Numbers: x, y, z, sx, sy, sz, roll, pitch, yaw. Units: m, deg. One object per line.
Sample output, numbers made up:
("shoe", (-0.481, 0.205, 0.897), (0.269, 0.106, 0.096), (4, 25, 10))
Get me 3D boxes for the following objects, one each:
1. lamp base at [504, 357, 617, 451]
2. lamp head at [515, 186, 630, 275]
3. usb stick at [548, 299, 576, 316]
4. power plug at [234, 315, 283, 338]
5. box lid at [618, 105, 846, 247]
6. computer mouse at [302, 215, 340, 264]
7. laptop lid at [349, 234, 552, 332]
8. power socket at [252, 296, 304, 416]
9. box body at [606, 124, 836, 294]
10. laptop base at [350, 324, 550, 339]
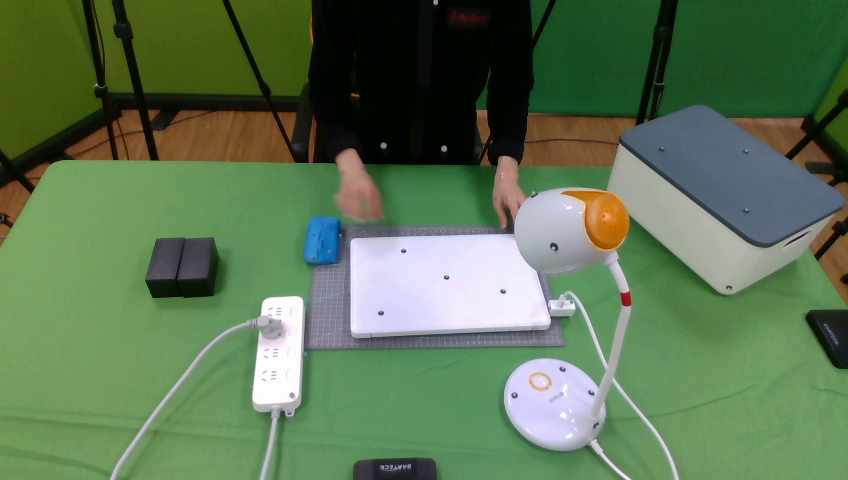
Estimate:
("lamp base", (0.220, 0.211, 0.903), (0.160, 0.181, 0.178), (-33, 59, -30))
("lamp head", (0.188, -0.013, 0.728), (0.112, 0.112, 0.122), (-25, 9, -25))
("usb stick", (0.239, 0.121, 1.084), (0.059, 0.027, 0.021), (-1, 51, -1))
("power plug", (-0.269, 0.143, 1.000), (0.072, 0.053, 0.035), (4, 47, 2))
("box lid", (0.587, -0.138, 1.175), (0.263, 0.015, 0.369), (-22, 51, -22))
("computer mouse", (-0.198, -0.005, 1.172), (0.063, 0.041, 0.116), (4, 50, -3))
("laptop lid", (0.040, 0.071, 1.118), (0.357, 0.013, 0.240), (0, 44, -5))
("power socket", (-0.238, 0.181, 0.997), (0.072, 0.033, 0.225), (-3, 47, -5))
("box body", (0.584, -0.088, 1.230), (0.254, 0.161, 0.361), (-22, 52, -23))
("laptop base", (0.039, 0.081, 1.124), (0.355, 0.023, 0.234), (-2, 43, -6))
